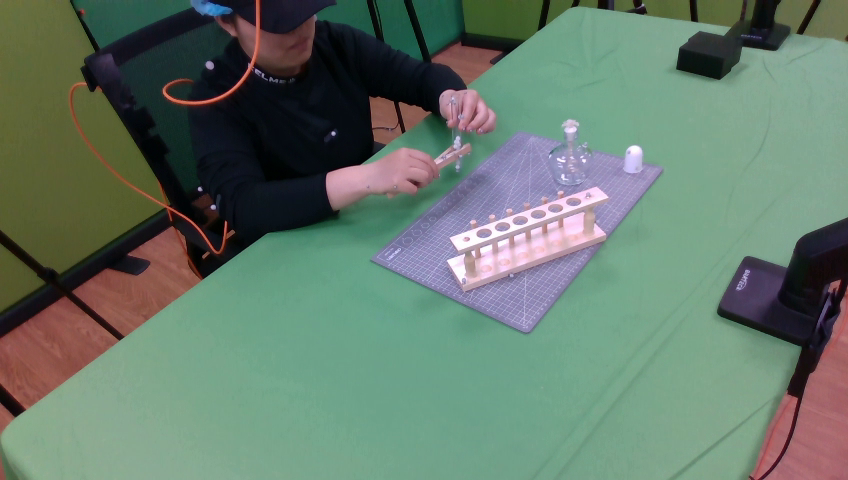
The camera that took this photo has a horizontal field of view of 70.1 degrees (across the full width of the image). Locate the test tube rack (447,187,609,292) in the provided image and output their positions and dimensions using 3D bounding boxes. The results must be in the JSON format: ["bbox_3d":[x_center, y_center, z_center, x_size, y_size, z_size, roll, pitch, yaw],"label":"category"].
[{"bbox_3d":[0.155,-0.011,0.913,0.243,0.085,0.066,-19,41,-12],"label":"test tube rack"}]

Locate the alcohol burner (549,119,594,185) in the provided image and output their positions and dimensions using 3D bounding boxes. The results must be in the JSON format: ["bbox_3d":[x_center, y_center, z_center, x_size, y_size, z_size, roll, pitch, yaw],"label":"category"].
[{"bbox_3d":[0.254,-0.155,1.043,0.078,0.120,0.077,-7,40,6],"label":"alcohol burner"}]

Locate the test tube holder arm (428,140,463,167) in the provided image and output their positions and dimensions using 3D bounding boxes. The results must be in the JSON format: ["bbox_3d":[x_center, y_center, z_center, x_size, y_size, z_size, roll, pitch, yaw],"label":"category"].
[{"bbox_3d":[0.038,-0.146,1.057,0.010,0.015,0.088,19,50,38],"label":"test tube holder arm"}]

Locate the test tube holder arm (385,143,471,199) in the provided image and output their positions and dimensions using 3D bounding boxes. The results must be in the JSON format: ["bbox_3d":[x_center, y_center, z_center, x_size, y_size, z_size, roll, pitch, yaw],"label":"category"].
[{"bbox_3d":[0.009,-0.120,1.035,0.179,0.015,0.013,-34,40,-20],"label":"test tube holder arm"}]

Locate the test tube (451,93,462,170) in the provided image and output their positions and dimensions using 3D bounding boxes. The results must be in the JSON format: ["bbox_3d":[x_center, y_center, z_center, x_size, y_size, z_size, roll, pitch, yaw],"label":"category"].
[{"bbox_3d":[0.057,-0.183,1.041,0.017,0.151,0.017,-3,43,3],"label":"test tube"}]

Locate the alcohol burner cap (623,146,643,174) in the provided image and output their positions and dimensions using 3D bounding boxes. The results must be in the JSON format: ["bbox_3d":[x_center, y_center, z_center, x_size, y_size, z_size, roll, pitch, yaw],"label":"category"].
[{"bbox_3d":[0.369,-0.142,1.061,0.034,0.048,0.033,-7,41,6],"label":"alcohol burner cap"}]
